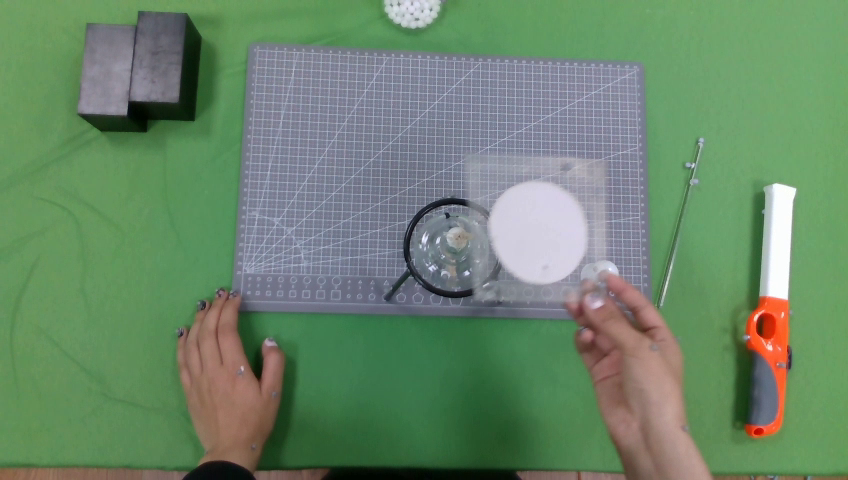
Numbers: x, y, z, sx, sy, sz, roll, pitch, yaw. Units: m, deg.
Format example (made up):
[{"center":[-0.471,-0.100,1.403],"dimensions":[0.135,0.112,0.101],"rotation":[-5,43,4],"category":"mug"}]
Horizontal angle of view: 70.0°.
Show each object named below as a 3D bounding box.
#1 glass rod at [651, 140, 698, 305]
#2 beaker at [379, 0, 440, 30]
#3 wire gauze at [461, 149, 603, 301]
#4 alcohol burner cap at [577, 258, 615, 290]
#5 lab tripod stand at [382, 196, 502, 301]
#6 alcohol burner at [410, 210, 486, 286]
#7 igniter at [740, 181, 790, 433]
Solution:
[{"center":[0.281,-0.022,0.679],"dimensions":[0.008,0.008,0.199],"rotation":[18,81,-1],"category":"glass rod"},{"center":[-0.013,-0.279,0.654],"dimensions":[0.074,0.100,0.084],"rotation":[-42,86,-8],"category":"beaker"},{"center":[0.091,-0.012,0.492],"dimensions":[0.125,0.011,0.121],"rotation":[3,81,-16],"category":"wire gauze"},{"center":[0.185,0.035,0.644],"dimensions":[0.034,0.048,0.033],"rotation":[1,79,-2],"category":"alcohol burner cap"},{"center":[0.019,0.013,0.590],"dimensions":[0.148,0.132,0.148],"rotation":[0,79,-2],"category":"lab tripod stand"},{"center":[0.026,0.004,0.602],"dimensions":[0.078,0.119,0.077],"rotation":[1,78,-4],"category":"alcohol burner"},{"center":[0.374,0.071,0.660],"dimensions":[0.057,0.025,0.275],"rotation":[11,81,-13],"category":"igniter"}]
